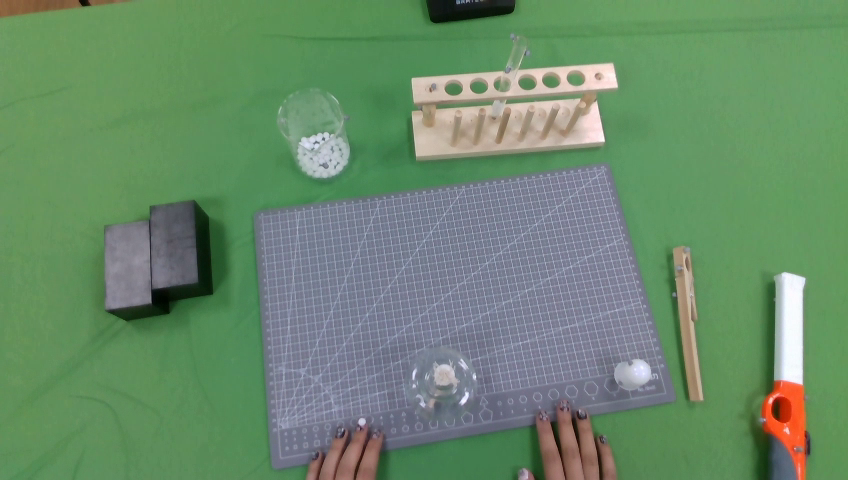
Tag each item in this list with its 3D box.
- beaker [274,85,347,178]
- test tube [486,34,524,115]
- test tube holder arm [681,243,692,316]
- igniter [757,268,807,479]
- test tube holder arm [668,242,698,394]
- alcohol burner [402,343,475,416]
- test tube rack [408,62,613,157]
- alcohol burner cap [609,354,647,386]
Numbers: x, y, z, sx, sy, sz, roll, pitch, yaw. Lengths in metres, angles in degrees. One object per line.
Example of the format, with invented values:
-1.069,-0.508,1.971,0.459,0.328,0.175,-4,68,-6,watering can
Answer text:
-0.131,-0.123,0.723,0.074,0.101,0.083,-6,72,-3,beaker
0.092,-0.188,0.705,0.017,0.151,0.017,1,72,-4,test tube
0.307,0.047,0.721,0.010,0.015,0.087,15,68,-32,test tube holder arm
0.401,0.165,0.678,0.057,0.025,0.275,15,72,-7,igniter
0.301,0.089,0.705,0.013,0.015,0.177,13,69,-33,test tube holder arm
0.016,0.142,0.627,0.078,0.120,0.077,1,70,-2,alcohol burner
0.104,-0.160,0.749,0.242,0.085,0.066,-5,72,-3,test tube rack
0.228,0.143,0.670,0.034,0.048,0.033,0,70,-1,alcohol burner cap
